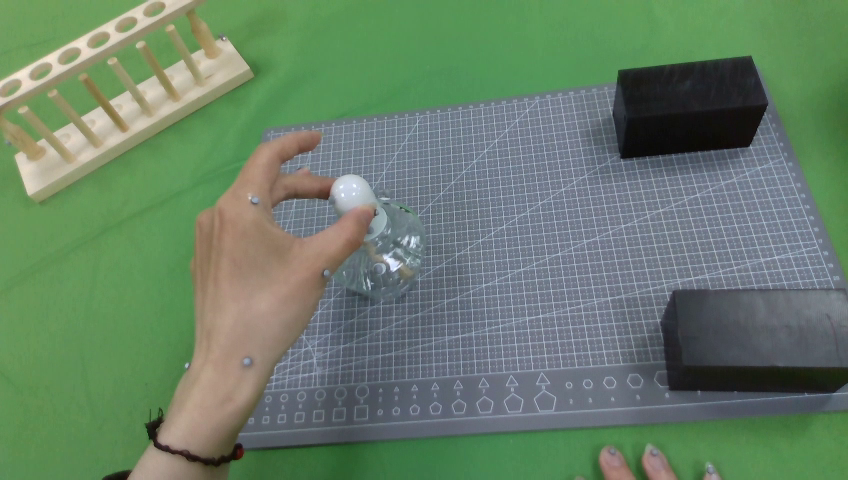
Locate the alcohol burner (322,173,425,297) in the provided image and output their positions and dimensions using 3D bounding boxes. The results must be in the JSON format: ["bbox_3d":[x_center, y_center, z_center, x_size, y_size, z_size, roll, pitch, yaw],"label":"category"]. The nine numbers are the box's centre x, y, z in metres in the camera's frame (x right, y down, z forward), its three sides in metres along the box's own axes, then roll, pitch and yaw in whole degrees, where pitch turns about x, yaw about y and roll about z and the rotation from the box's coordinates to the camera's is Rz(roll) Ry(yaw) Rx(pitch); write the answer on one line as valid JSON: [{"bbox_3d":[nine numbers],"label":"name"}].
[{"bbox_3d":[-0.040,-0.008,0.434,0.078,0.120,0.077,-5,58,8],"label":"alcohol burner"}]

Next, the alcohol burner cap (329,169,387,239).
[{"bbox_3d":[-0.046,-0.026,0.404,0.034,0.048,0.033,-6,57,9],"label":"alcohol burner cap"}]

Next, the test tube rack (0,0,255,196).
[{"bbox_3d":[-0.297,-0.150,0.584,0.242,0.086,0.066,-33,60,-9],"label":"test tube rack"}]
